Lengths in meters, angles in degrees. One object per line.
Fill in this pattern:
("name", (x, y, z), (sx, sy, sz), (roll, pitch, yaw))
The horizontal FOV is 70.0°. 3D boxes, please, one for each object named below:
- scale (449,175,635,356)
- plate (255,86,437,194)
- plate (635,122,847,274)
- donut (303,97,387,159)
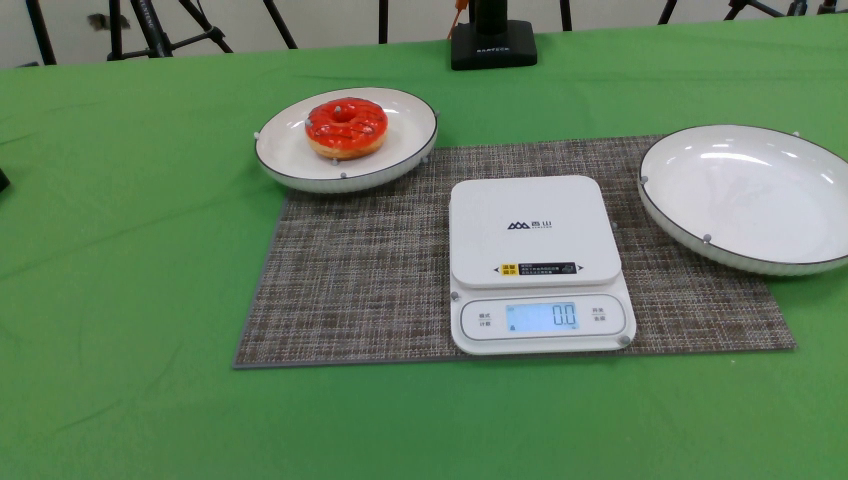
("scale", (0.097, 0.014, 0.544), (0.148, 0.032, 0.199), (-3, 44, 5))
("plate", (-0.088, -0.114, 0.701), (0.209, 0.038, 0.207), (-4, 41, 4))
("plate", (0.305, -0.040, 0.574), (0.207, 0.039, 0.205), (-2, 43, 2))
("donut", (-0.091, -0.129, 0.702), (0.099, 0.049, 0.098), (-3, 41, 3))
